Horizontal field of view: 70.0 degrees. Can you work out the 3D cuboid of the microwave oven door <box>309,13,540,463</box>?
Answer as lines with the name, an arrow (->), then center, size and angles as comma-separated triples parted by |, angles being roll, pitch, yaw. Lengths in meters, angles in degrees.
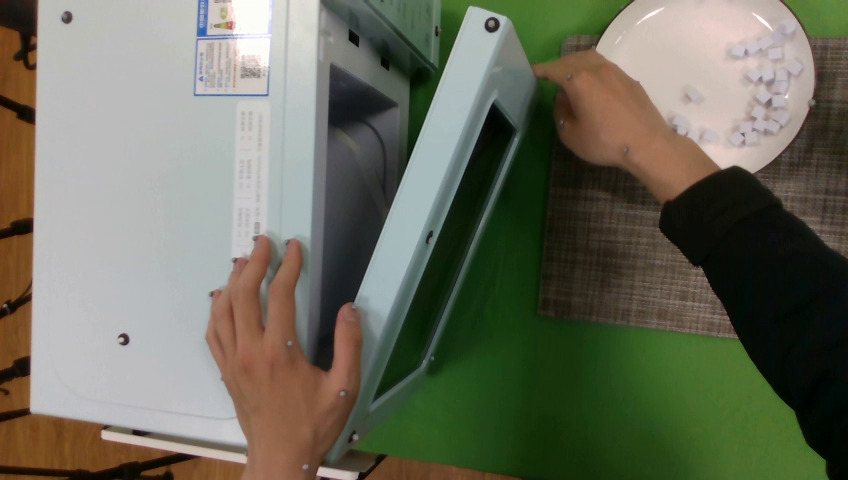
microwave oven door -> 0.013, 0.003, 0.556 | 0.039, 0.244, 0.356 | 23, 98, 15

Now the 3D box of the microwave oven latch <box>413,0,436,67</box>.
microwave oven latch -> -0.003, -0.230, 0.655 | 0.030, 0.029, 0.079 | 3, 94, 15

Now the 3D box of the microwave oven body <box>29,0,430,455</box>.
microwave oven body -> -0.179, -0.058, 0.612 | 0.325, 0.261, 0.442 | 3, 93, 15

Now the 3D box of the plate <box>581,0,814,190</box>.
plate -> 0.263, -0.152, 0.599 | 0.208, 0.038, 0.209 | 0, 92, 16
